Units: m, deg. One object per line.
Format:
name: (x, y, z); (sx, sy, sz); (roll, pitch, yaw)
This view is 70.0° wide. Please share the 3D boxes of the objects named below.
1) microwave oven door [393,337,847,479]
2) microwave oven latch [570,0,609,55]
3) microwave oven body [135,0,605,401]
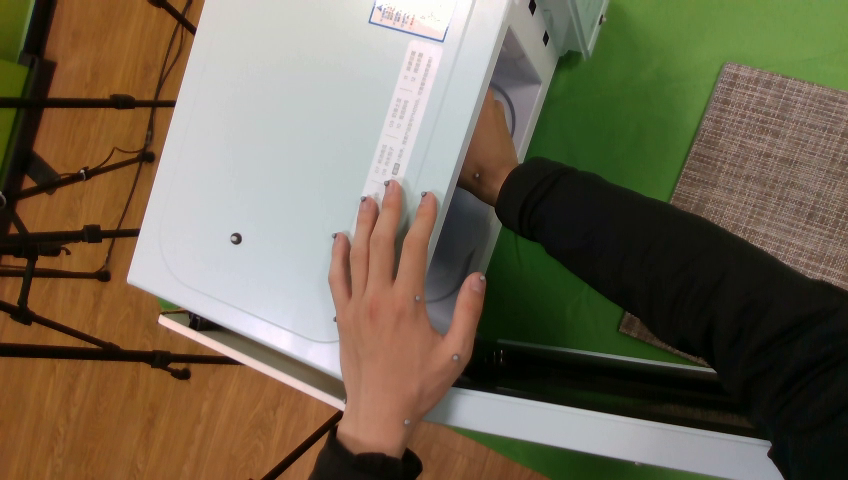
microwave oven door: (0.180, 0.138, 0.525); (0.354, 0.245, 0.039); (4, 90, 20)
microwave oven latch: (0.175, -0.239, 0.637); (0.030, 0.029, 0.079); (20, 97, 18)
microwave oven body: (-0.043, -0.120, 0.611); (0.324, 0.261, 0.442); (19, 97, 18)
